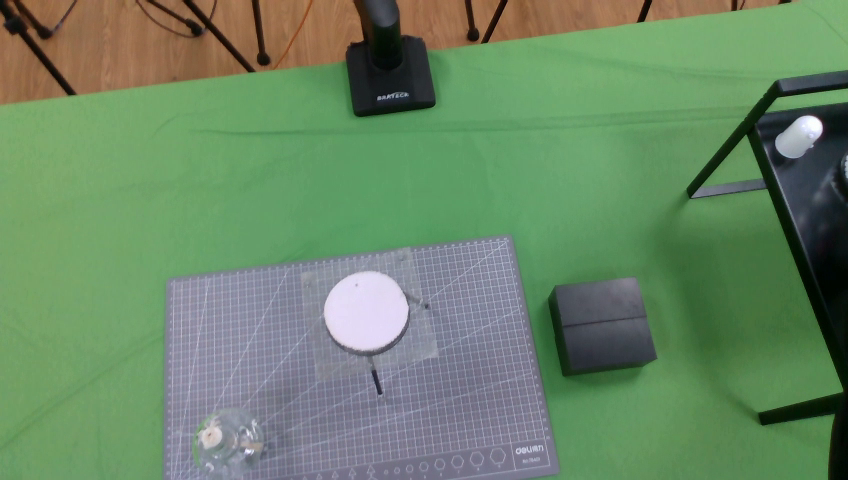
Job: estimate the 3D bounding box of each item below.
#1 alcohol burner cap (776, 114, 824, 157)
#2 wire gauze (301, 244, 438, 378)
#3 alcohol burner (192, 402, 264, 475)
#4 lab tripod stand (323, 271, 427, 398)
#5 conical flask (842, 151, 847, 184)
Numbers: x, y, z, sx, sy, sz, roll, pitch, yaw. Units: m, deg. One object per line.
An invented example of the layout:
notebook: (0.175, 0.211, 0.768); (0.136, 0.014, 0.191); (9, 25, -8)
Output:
alcohol burner cap: (0.391, -0.111, 0.625); (0.034, 0.048, 0.033); (0, 70, 1)
wire gauze: (-0.059, 0.072, 0.625); (0.125, 0.011, 0.120); (-12, 69, -5)
alcohol burner: (-0.216, 0.212, 0.654); (0.078, 0.120, 0.077); (1, 67, -1)
lab tripod stand: (-0.057, 0.094, 0.689); (0.148, 0.132, 0.147); (0, 67, 0)
conical flask: (0.468, -0.089, 0.574); (0.075, 0.122, 0.075); (0, 68, 0)
